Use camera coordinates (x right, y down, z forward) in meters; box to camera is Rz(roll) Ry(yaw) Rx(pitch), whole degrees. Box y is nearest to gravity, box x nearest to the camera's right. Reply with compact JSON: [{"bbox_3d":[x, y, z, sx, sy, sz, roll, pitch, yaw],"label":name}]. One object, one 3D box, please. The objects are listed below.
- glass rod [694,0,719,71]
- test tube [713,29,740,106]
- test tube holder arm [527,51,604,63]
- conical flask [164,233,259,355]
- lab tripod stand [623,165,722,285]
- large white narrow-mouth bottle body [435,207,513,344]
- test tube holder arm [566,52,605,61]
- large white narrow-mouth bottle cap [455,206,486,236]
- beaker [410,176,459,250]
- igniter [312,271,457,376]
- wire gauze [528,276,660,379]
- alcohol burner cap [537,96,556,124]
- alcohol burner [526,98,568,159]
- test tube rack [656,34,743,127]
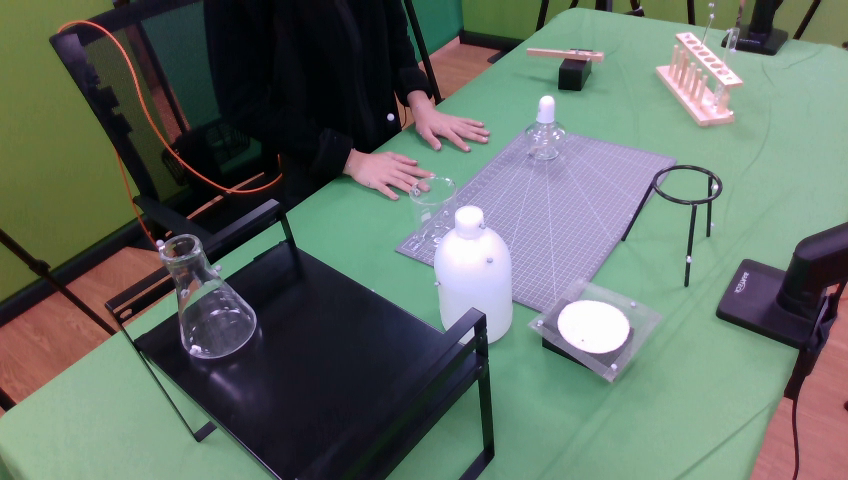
[{"bbox_3d":[0.561,-0.401,1.214,0.008,0.200,0.008,-1,49,2],"label":"glass rod"},{"bbox_3d":[0.572,-0.324,1.147,0.017,0.151,0.017,-3,38,2],"label":"test tube"},{"bbox_3d":[0.311,-0.408,1.344,0.177,0.015,0.013,14,37,30],"label":"test tube holder arm"},{"bbox_3d":[-0.216,0.051,0.601,0.075,0.122,0.075,-4,40,4],"label":"conical flask"},{"bbox_3d":[0.365,-0.030,0.875,0.148,0.132,0.147,-6,41,6],"label":"lab tripod stand"},{"bbox_3d":[0.065,0.041,0.791,0.102,0.195,0.101,-4,41,4],"label":"large white narrow-mouth bottle body"},{"bbox_3d":[0.352,-0.401,1.325,0.087,0.015,0.010,15,38,30],"label":"test tube holder arm"},{"bbox_3d":[0.057,-0.023,0.734,0.038,0.024,0.037,-4,40,4],"label":"large white narrow-mouth bottle cap"},{"bbox_3d":[0.022,-0.041,0.964,0.073,0.101,0.084,28,51,35],"label":"beaker"},{"bbox_3d":[-0.068,0.111,0.859,0.274,0.025,0.057,27,61,34],"label":"igniter"},{"bbox_3d":[0.214,0.103,0.763,0.124,0.011,0.122,30,52,35],"label":"wire gauze"},{"bbox_3d":[0.223,-0.238,1.095,0.034,0.048,0.033,-2,37,2],"label":"alcohol burner cap"},{"bbox_3d":[0.228,-0.210,1.118,0.078,0.119,0.077,-5,43,5],"label":"alcohol burner"},{"bbox_3d":[0.553,-0.330,1.233,0.067,0.085,0.241,-7,40,2],"label":"test tube rack"}]
